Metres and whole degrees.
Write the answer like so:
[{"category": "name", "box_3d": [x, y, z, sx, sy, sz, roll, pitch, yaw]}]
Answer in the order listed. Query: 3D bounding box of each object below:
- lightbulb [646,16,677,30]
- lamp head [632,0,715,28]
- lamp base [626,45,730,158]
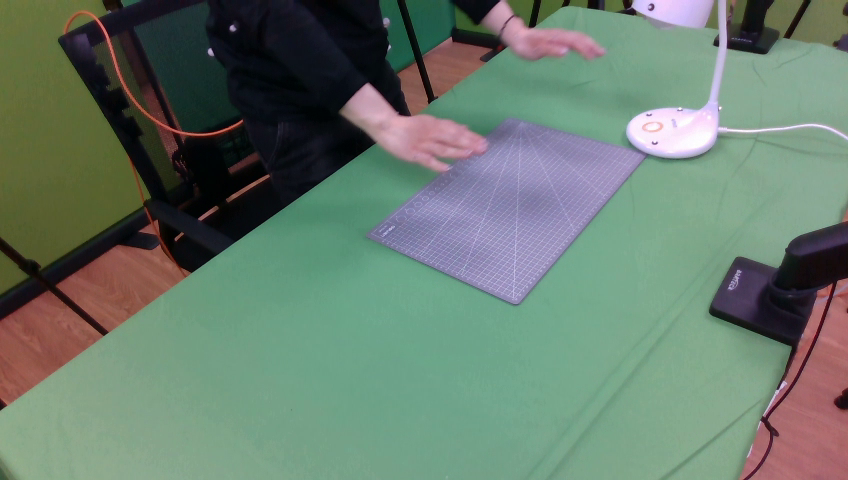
[{"category": "lightbulb", "box_3d": [0.364, -0.362, 0.883, 0.060, 0.108, 0.059, 9, 40, -7]}, {"category": "lamp head", "box_3d": [0.376, -0.379, 0.868, 0.113, 0.123, 0.112, 13, 31, -8]}, {"category": "lamp base", "box_3d": [0.467, -0.262, 1.086, 0.179, 0.181, 0.159, -4, 41, 0]}]
